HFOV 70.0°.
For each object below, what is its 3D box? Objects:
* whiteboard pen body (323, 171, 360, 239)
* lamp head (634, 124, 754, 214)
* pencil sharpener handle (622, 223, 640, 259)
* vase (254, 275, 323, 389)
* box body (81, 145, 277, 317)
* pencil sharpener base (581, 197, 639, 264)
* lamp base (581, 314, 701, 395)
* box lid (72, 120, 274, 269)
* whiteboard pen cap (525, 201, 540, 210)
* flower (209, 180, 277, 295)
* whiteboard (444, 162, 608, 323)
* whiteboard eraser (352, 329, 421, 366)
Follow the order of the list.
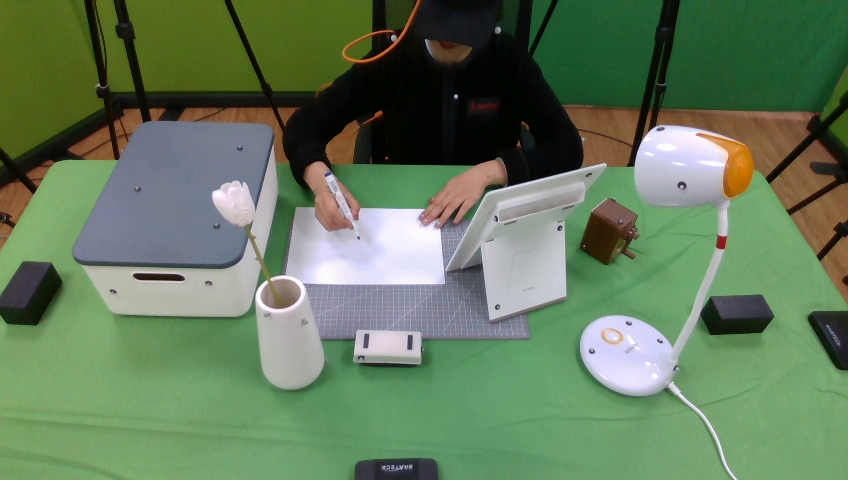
[{"bbox_3d":[-0.152,-0.064,1.138,0.017,0.141,0.017,-24,13,6],"label":"whiteboard pen body"},{"bbox_3d":[0.351,-0.089,0.776,0.112,0.113,0.122,-30,30,-28],"label":"lamp head"},{"bbox_3d":[0.397,0.003,1.146,0.030,0.068,0.036,37,46,27],"label":"pencil sharpener handle"},{"bbox_3d":[-0.210,0.143,0.921,0.098,0.201,0.097,1,46,-1],"label":"vase"},{"bbox_3d":[-0.422,-0.041,1.108,0.254,0.161,0.361,2,46,-3],"label":"box body"},{"bbox_3d":[0.362,-0.017,1.179,0.076,0.107,0.061,37,54,27],"label":"pencil sharpener base"},{"bbox_3d":[0.361,0.145,0.973,0.178,0.181,0.160,34,53,23],"label":"lamp base"},{"bbox_3d":[-0.417,-0.094,1.056,0.263,0.015,0.369,1,47,-3],"label":"box lid"},{"bbox_3d":[0.230,-0.074,1.289,0.033,0.018,0.018,5,46,4],"label":"whiteboard pen cap"},{"bbox_3d":[-0.217,0.075,0.871,0.044,0.363,0.038,-29,36,-19],"label":"flower"},{"bbox_3d":[0.186,0.025,1.029,0.217,0.306,0.143,-14,68,-17],"label":"whiteboard"},{"bbox_3d":[-0.061,0.180,1.005,0.113,0.042,0.055,3,48,-3],"label":"whiteboard eraser"}]
